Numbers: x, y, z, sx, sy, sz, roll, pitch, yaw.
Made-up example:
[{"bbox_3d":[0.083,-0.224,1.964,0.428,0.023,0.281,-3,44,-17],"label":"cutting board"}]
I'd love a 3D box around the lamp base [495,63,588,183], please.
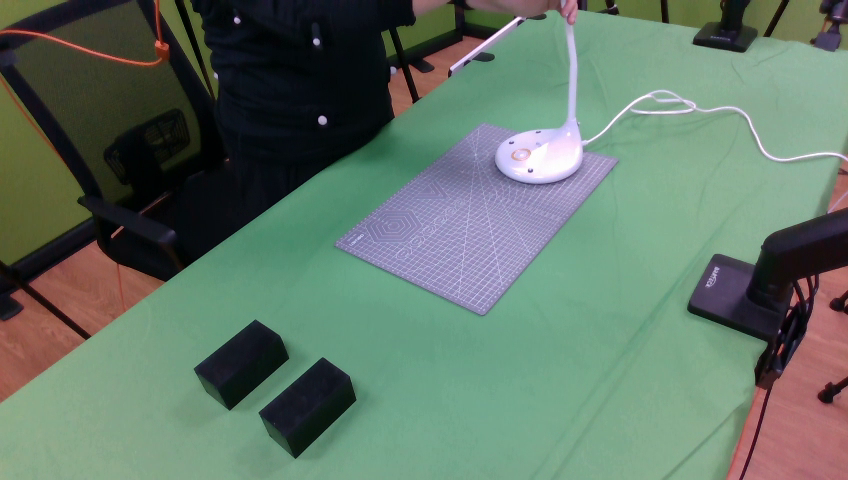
[{"bbox_3d":[0.215,-0.217,1.067,0.180,0.181,0.159,-20,42,-18],"label":"lamp base"}]
